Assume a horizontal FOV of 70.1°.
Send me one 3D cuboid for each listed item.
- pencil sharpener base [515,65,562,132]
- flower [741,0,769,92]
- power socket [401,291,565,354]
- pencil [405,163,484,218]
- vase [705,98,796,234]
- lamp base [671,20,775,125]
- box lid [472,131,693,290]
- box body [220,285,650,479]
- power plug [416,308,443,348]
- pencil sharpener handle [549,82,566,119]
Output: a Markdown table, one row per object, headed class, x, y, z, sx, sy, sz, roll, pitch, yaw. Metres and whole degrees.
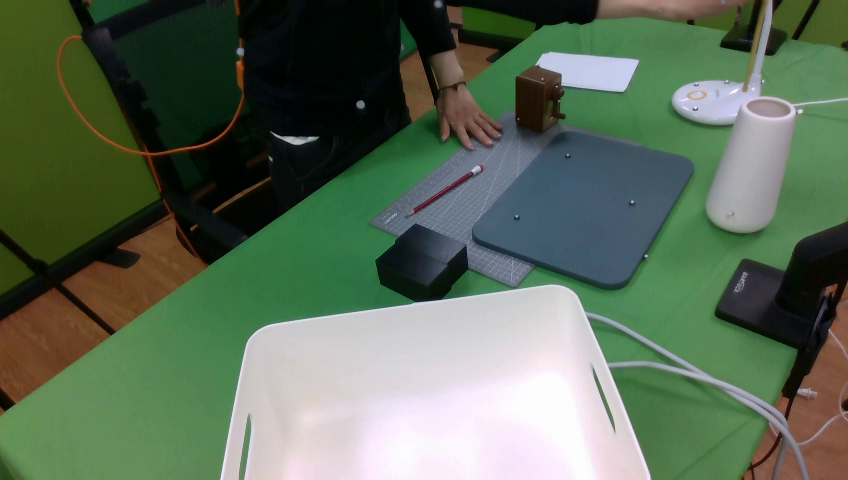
| class | x | y | z | sx | sy | sz | roll | pitch | yaw |
| --- | --- | --- | --- | --- | --- | --- | --- | --- | --- |
| pencil sharpener base | 0.227 | -0.278 | 1.195 | 0.076 | 0.107 | 0.061 | 30 | 52 | 35 |
| flower | 0.398 | -0.327 | 0.678 | 0.038 | 0.363 | 0.044 | -3 | 45 | 9 |
| power socket | 0.079 | 0.111 | 0.823 | 0.227 | 0.033 | 0.072 | -5 | 41 | 1 |
| pencil | 0.038 | -0.089 | 1.079 | 0.195 | 0.012 | 0.012 | -36 | 48 | -27 |
| vase | 0.480 | -0.104 | 0.889 | 0.098 | 0.201 | 0.097 | -4 | 42 | 4 |
| lamp base | 0.582 | -0.332 | 1.154 | 0.179 | 0.181 | 0.160 | 2 | 42 | 7 |
| box lid | 0.273 | -0.068 | 1.020 | 0.261 | 0.015 | 0.372 | 20 | 47 | 28 |
| box body | 0.006 | 0.210 | 0.618 | 0.364 | 0.161 | 0.252 | -8 | 40 | -1 |
| power plug | 0.005 | 0.121 | 0.787 | 0.035 | 0.053 | 0.072 | 2 | 46 | 8 |
| pencil sharpener handle | 0.261 | -0.266 | 1.157 | 0.030 | 0.068 | 0.036 | 30 | 45 | 35 |
